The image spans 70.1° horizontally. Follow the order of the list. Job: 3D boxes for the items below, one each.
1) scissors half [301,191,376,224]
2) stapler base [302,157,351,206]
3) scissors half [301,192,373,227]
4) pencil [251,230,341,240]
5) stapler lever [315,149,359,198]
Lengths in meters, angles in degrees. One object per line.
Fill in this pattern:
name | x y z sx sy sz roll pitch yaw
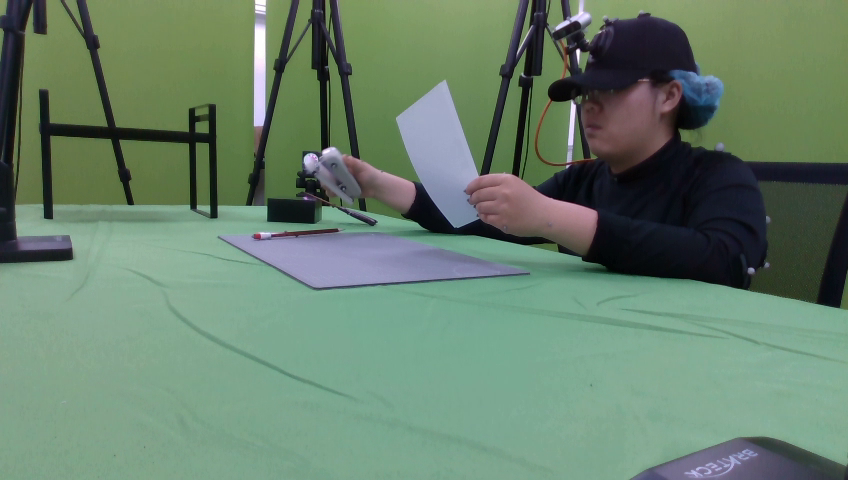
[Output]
scissors half | -0.189 -0.073 1.333 0.175 0.013 0.040 22 9 -11
stapler base | -0.175 -0.112 1.126 0.024 0.041 0.131 -29 -42 18
scissors half | -0.191 -0.069 1.313 0.175 0.013 0.040 25 14 7
pencil | -0.215 -0.011 1.049 0.012 0.012 0.195 9 9 39
stapler lever | -0.155 -0.124 1.121 0.040 0.026 0.118 -30 -42 19
